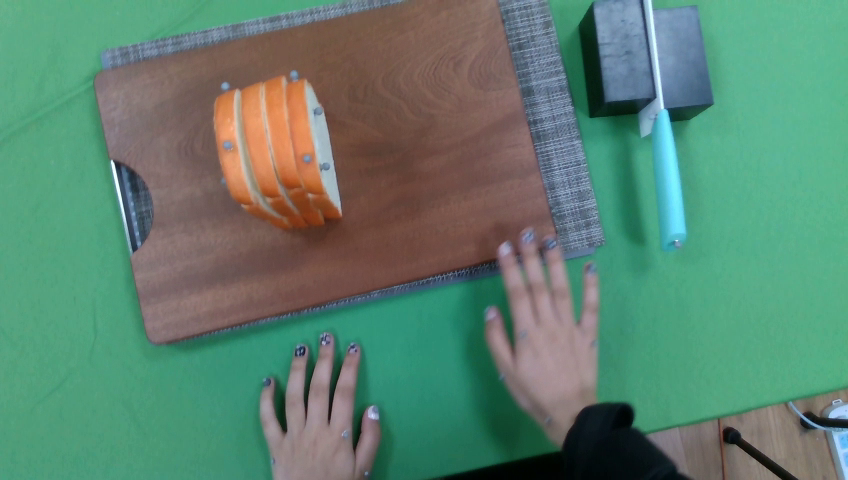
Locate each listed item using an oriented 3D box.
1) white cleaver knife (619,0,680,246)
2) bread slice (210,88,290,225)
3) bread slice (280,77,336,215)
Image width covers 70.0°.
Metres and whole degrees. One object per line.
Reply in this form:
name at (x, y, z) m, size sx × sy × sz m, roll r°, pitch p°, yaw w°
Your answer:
white cleaver knife at (0.221, -0.137, 0.600) m, size 0.021 × 0.066 × 0.286 m, roll -5°, pitch 87°, yaw 4°
bread slice at (-0.148, -0.071, 0.519) m, size 0.019 × 0.132 × 0.104 m, roll -12°, pitch 84°, yaw 2°
bread slice at (-0.098, -0.077, 0.520) m, size 0.018 × 0.134 × 0.107 m, roll -12°, pitch 89°, yaw -3°
